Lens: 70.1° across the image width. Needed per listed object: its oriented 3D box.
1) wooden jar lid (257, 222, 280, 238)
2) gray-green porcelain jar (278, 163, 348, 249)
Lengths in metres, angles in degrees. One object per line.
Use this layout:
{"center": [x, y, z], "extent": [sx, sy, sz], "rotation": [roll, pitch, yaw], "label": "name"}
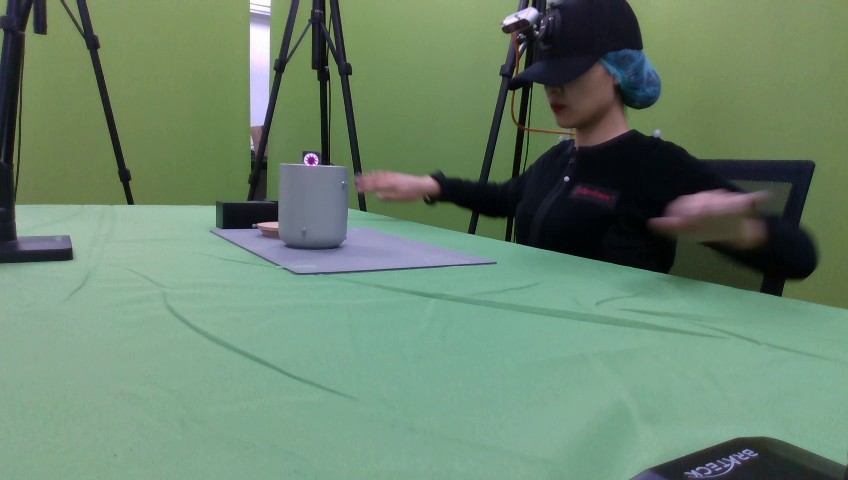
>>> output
{"center": [-0.234, -0.018, 1.053], "extent": [0.108, 0.020, 0.108], "rotation": [2, 9, 0], "label": "wooden jar lid"}
{"center": [-0.171, -0.053, 0.934], "extent": [0.106, 0.126, 0.106], "rotation": [2, 7, 0], "label": "gray-green porcelain jar"}
